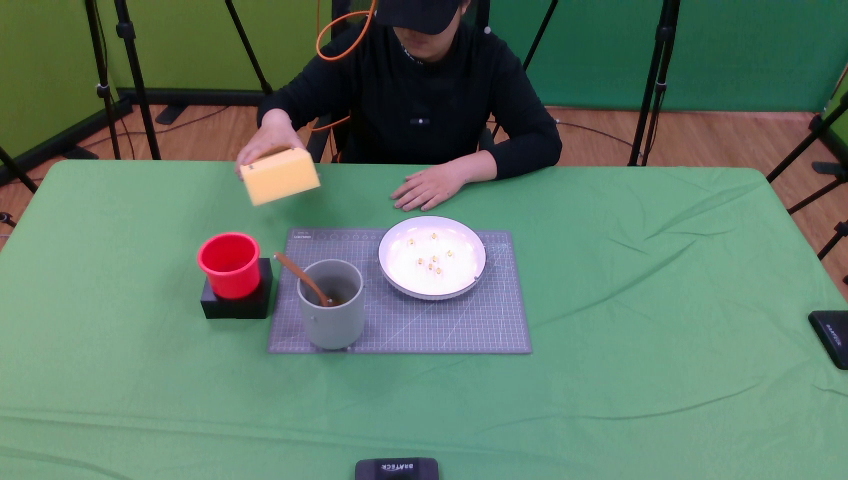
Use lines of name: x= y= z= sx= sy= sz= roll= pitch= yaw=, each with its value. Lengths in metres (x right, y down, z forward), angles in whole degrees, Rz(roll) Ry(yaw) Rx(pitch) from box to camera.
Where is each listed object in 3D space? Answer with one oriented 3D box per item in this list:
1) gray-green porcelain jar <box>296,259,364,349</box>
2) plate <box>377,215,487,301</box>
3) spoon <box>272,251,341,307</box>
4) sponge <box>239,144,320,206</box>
gray-green porcelain jar: x=-0.152 y=0.111 z=1.003 sx=0.106 sy=0.127 sz=0.105 roll=2 pitch=46 yaw=-2
plate: x=0.015 y=0.037 z=1.147 sx=0.208 sy=0.039 sz=0.206 roll=2 pitch=46 yaw=-2
spoon: x=-0.180 y=0.077 z=0.982 sx=0.021 sy=0.195 sz=0.041 roll=-8 pitch=46 yaw=28
sponge: x=-0.271 y=-0.124 z=1.118 sx=0.118 sy=0.061 sz=0.206 roll=-20 pitch=18 yaw=-14
